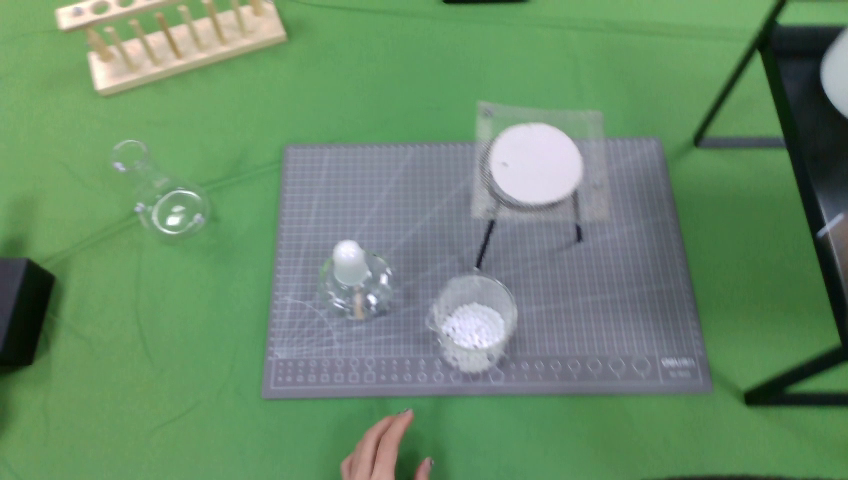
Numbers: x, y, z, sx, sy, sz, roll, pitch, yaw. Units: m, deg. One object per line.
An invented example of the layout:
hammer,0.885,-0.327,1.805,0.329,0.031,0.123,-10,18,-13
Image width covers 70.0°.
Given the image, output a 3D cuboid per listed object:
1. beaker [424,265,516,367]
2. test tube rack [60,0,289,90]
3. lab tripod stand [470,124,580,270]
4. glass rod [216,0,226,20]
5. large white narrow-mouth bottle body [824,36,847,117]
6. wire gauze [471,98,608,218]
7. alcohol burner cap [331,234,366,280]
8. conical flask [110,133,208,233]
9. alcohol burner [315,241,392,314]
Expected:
beaker,0.042,0.079,0.582,0.084,0.101,0.073,-12,65,-4
test tube rack,-0.301,-0.272,0.750,0.242,0.086,0.066,-19,67,-8
lab tripod stand,0.100,-0.045,0.618,0.148,0.132,0.147,1,64,-1
glass rod,-0.254,-0.332,0.703,0.008,0.201,0.008,2,64,-4
large white narrow-mouth bottle body,0.397,-0.173,0.447,0.102,0.196,0.101,0,64,0
wire gauze,0.107,-0.077,0.558,0.121,0.011,0.124,5,66,1
alcohol burner cap,-0.072,0.013,0.564,0.034,0.048,0.033,1,59,-2
conical flask,-0.282,-0.064,0.637,0.075,0.123,0.075,0,65,1
alcohol burner,-0.071,0.030,0.596,0.078,0.120,0.077,1,64,-1
